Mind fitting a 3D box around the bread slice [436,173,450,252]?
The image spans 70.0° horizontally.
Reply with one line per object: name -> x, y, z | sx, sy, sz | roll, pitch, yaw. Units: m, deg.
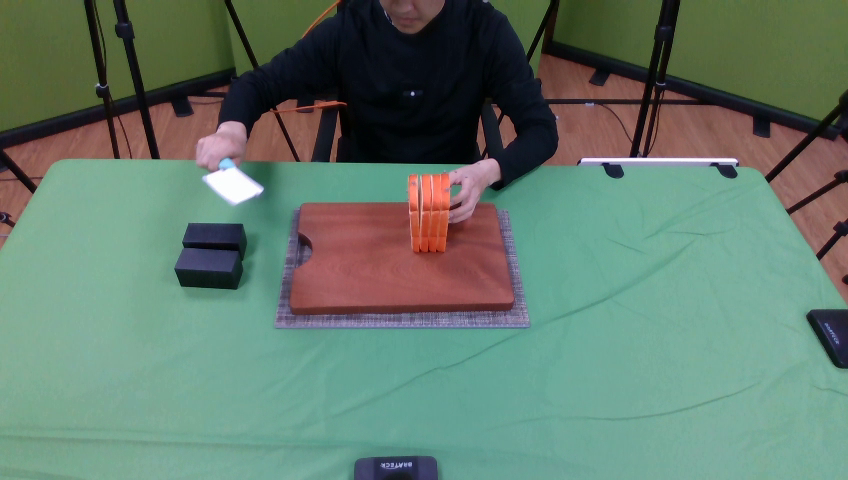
bread slice -> 0.035, -0.058, 1.137 | 0.018, 0.135, 0.106 | 2, 48, -3

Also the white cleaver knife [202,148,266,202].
white cleaver knife -> -0.352, -0.119, 1.065 | 0.066, 0.021, 0.284 | -25, 31, -24

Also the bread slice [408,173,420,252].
bread slice -> -0.018, -0.059, 1.136 | 0.019, 0.132, 0.104 | -3, 44, 1
